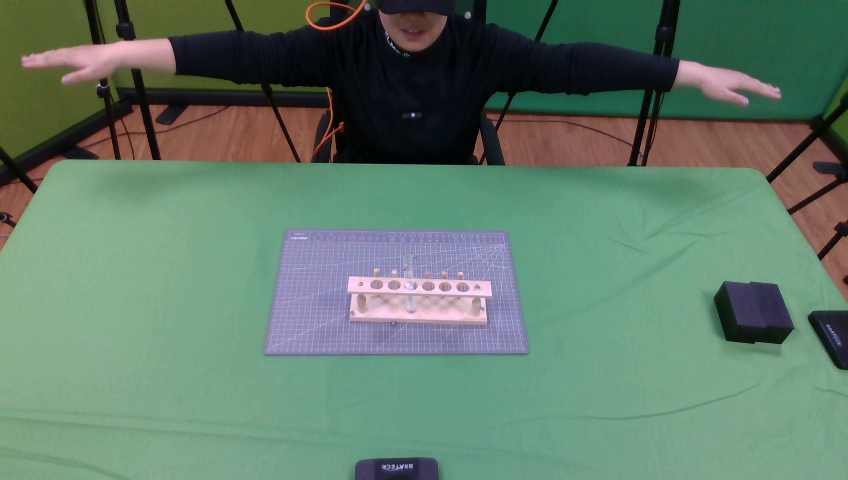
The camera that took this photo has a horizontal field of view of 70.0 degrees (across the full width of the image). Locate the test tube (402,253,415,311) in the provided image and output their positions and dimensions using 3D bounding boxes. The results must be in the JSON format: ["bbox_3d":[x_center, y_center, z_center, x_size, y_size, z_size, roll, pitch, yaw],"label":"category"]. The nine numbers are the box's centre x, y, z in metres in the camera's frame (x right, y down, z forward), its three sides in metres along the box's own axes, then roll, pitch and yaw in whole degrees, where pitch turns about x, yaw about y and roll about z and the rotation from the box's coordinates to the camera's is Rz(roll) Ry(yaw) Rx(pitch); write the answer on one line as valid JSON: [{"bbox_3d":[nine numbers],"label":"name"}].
[{"bbox_3d":[-0.025,0.073,1.010,0.017,0.151,0.017,-1,49,1],"label":"test tube"}]

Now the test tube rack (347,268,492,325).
[{"bbox_3d":[-0.009,0.095,1.059,0.242,0.085,0.066,2,46,-2],"label":"test tube rack"}]
